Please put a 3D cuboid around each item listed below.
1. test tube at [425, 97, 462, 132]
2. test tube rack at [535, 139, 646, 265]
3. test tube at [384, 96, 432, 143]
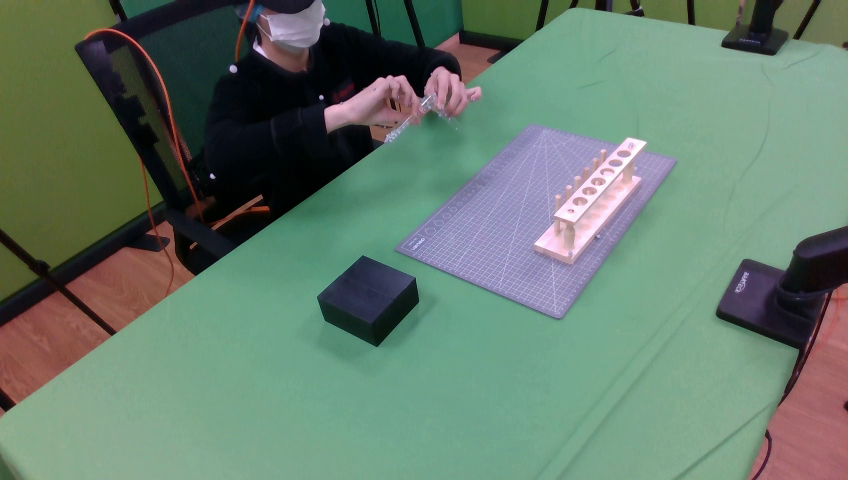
[{"bbox_3d":[0.038,-0.224,1.086,0.017,0.151,0.017,-4,80,23],"label":"test tube"},{"bbox_3d":[0.269,-0.071,0.964,0.066,0.085,0.243,23,49,32],"label":"test tube rack"},{"bbox_3d":[-0.024,-0.195,0.967,0.017,0.017,0.150,13,41,23],"label":"test tube"}]
